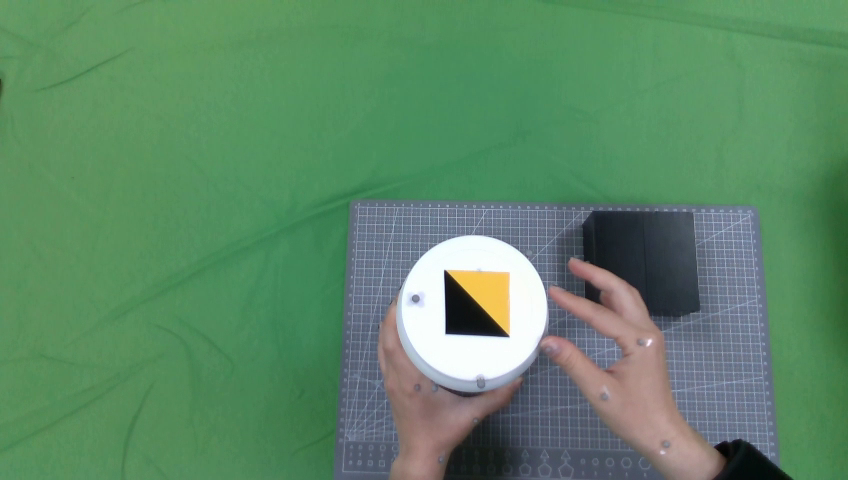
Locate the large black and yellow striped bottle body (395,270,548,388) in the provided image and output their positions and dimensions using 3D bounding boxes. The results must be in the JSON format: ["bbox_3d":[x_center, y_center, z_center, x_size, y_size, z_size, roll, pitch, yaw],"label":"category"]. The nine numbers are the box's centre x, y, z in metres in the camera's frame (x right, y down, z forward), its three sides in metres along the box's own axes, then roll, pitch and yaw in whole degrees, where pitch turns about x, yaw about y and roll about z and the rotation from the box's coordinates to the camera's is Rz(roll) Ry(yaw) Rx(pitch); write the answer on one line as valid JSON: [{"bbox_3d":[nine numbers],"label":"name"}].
[{"bbox_3d":[0.041,0.070,0.559,0.131,0.185,0.130,0,77,2],"label":"large black and yellow striped bottle body"}]

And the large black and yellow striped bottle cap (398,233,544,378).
[{"bbox_3d":[0.036,0.050,0.475,0.115,0.019,0.114,0,77,0],"label":"large black and yellow striped bottle cap"}]
